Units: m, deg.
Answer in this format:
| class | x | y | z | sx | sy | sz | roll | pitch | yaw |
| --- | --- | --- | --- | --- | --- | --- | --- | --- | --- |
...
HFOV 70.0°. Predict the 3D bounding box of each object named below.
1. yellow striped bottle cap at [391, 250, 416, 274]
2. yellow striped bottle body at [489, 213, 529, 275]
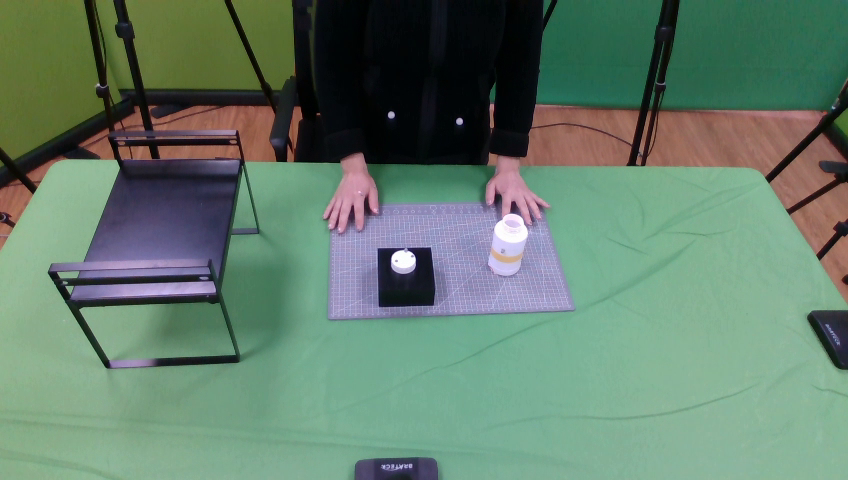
| class | x | y | z | sx | sy | sz | roll | pitch | yaw |
| --- | --- | --- | --- | --- | --- | --- | --- | --- | --- |
| yellow striped bottle cap | -0.037 | 0.039 | 1.087 | 0.044 | 0.019 | 0.044 | 2 | 43 | -1 |
| yellow striped bottle body | 0.159 | 0.005 | 1.130 | 0.063 | 0.121 | 0.062 | 2 | 46 | -2 |
